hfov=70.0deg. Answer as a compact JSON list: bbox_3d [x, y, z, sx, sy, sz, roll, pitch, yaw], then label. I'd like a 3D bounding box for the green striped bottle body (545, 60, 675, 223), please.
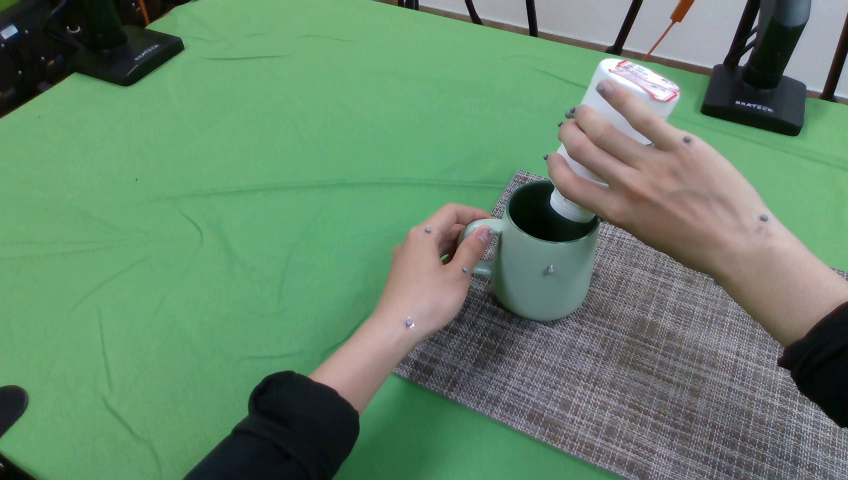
[{"bbox_3d":[0.137,-0.072,0.472,0.063,0.120,0.062,14,35,-9],"label":"green striped bottle body"}]

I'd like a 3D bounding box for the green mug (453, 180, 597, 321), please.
[{"bbox_3d":[0.089,0.011,0.542,0.125,0.106,0.091,0,47,1],"label":"green mug"}]
